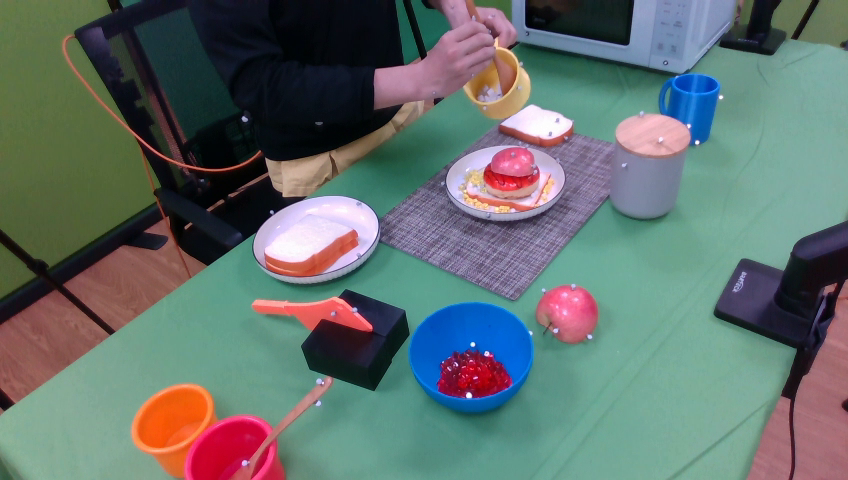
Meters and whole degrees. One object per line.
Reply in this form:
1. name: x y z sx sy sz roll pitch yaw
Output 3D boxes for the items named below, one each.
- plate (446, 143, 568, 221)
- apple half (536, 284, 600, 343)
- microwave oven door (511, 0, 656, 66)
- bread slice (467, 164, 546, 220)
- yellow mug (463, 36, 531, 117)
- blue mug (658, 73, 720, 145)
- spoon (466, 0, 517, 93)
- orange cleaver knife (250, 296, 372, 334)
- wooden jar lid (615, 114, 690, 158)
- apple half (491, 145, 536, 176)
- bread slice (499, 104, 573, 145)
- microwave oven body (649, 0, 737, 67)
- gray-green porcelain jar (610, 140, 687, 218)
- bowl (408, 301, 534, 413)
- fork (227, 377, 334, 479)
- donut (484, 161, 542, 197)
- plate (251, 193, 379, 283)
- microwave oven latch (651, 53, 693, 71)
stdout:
1. plate: 0.142 -0.097 1.045 0.207 0.039 0.206 -4 40 4
2. apple half: 0.196 0.091 0.815 0.075 0.053 0.080 -22 43 -20
3. microwave oven door: 0.350 -0.539 1.348 0.353 0.245 0.039 24 50 31
4. bread slice: 0.143 -0.088 1.052 0.134 0.018 0.107 14 49 12
5. yellow mug: 0.124 -0.281 1.017 0.099 0.064 0.130 0 78 27
6. blue mug: 0.483 -0.250 1.127 0.082 0.106 0.115 -26 44 -19
7. spoon: 0.106 -0.299 0.944 0.041 0.195 0.021 -47 42 -5
8. orange cleaver knife: -0.159 0.103 0.828 0.210 0.078 0.012 -4 43 39
9. wooden jar lid: 0.347 -0.155 0.923 0.108 0.021 0.108 -3 44 4
10. apple half: 0.147 -0.138 0.994 0.081 0.033 0.081 0 37 1
11. bread slice: 0.231 -0.231 1.205 0.105 0.019 0.130 -37 47 -28
12. microwave oven body: 0.475 -0.602 1.411 0.438 0.261 0.327 23 50 32
13. gray-green porcelain jar: 0.354 -0.106 0.964 0.106 0.127 0.105 -4 41 4
14. bowl: 0.059 0.156 0.739 0.151 0.077 0.150 -4 40 4
15. fork: -0.162 0.216 0.647 0.207 0.019 0.028 -49 41 16
16. donut: 0.149 -0.109 1.016 0.099 0.048 0.098 -4 40 4
17. plate: -0.174 -0.001 0.984 0.209 0.038 0.208 -4 41 4
18. microwave oven latch: 0.532 -0.386 1.301 0.078 0.029 0.030 27 52 34
